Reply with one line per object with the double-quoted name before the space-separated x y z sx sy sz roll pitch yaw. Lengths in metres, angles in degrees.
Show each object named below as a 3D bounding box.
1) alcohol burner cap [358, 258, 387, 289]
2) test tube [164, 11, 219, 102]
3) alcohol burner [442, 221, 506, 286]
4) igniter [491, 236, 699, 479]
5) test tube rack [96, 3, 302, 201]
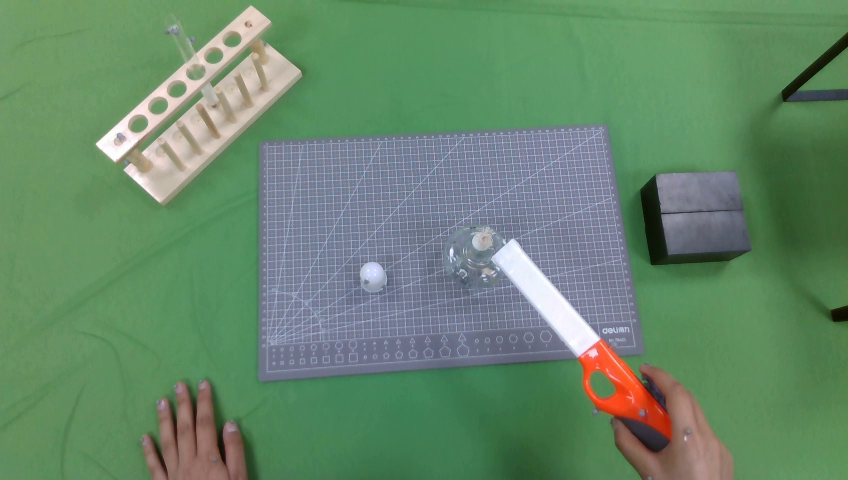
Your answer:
"alcohol burner cap" -0.061 0.037 0.707 0.034 0.048 0.033 0 74 0
"test tube" -0.263 -0.205 0.693 0.017 0.151 0.017 1 69 -1
"alcohol burner" 0.060 0.010 0.683 0.078 0.119 0.077 1 72 -3
"igniter" 0.161 0.110 0.578 0.057 0.025 0.275 -42 76 14
"test tube rack" -0.262 -0.165 0.733 0.066 0.085 0.242 40 77 9
